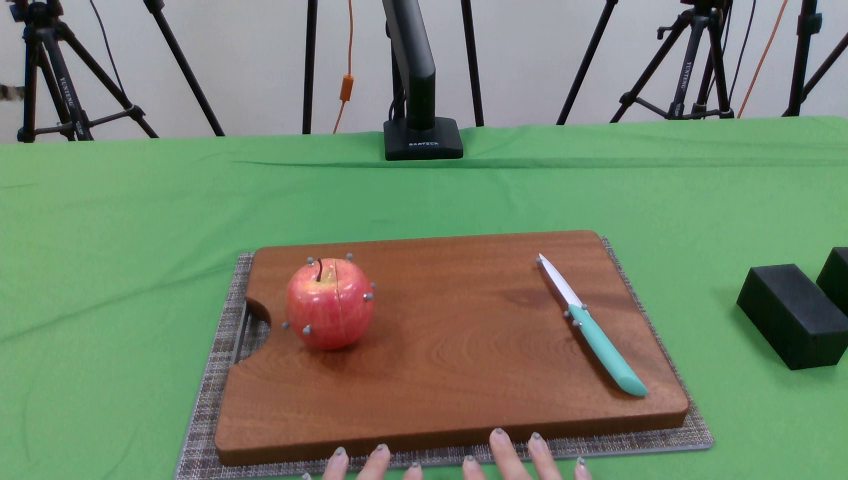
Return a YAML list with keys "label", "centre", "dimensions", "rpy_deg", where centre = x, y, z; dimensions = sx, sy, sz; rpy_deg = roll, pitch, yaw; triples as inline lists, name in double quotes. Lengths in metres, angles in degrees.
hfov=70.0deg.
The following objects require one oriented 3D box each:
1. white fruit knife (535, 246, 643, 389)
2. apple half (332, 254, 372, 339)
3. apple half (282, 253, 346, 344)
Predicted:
- label: "white fruit knife"
  centre: [0.152, 0.066, 0.600]
  dimensions: [0.027, 0.016, 0.205]
  rpy_deg: [17, 27, -28]
- label: "apple half"
  centre: [-0.065, 0.051, 0.566]
  dimensions: [0.033, 0.082, 0.080]
  rpy_deg: [-10, 39, -7]
- label: "apple half"
  centre: [-0.103, 0.057, 0.561]
  dimensions: [0.053, 0.075, 0.080]
  rpy_deg: [-10, 43, -6]
